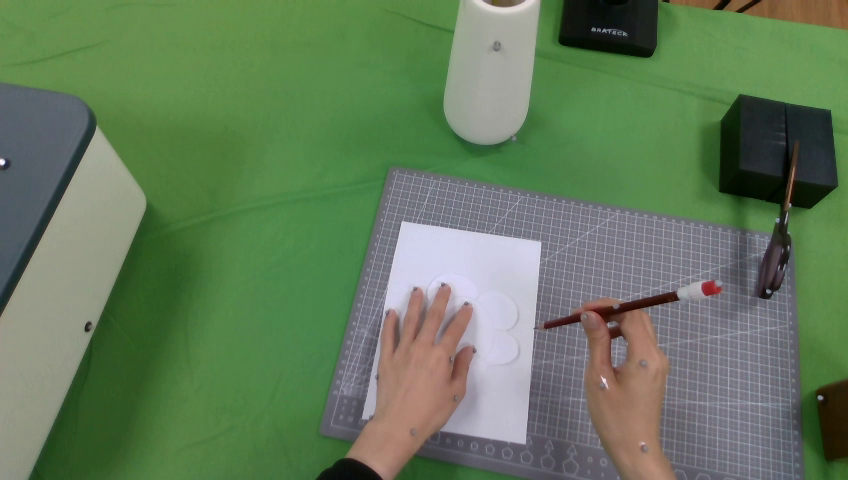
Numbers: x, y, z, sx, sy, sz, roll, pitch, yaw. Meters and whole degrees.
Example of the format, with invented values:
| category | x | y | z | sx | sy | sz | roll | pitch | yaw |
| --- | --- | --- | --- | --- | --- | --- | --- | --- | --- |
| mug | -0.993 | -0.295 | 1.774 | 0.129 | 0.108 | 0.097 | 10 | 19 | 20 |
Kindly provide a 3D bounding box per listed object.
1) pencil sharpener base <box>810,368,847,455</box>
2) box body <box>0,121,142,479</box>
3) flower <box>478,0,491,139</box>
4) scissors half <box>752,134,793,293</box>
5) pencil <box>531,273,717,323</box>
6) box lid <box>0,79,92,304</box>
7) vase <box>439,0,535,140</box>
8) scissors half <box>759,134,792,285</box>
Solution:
| category | x | y | z | sx | sy | sz | roll | pitch | yaw |
| --- | --- | --- | --- | --- | --- | --- | --- | --- | --- |
| pencil sharpener base | 0.404 | 0.154 | 0.535 | 0.061 | 0.108 | 0.076 | 6 | 67 | 2 |
| box body | -0.448 | 0.046 | 0.537 | 0.254 | 0.161 | 0.361 | 10 | 67 | 4 |
| flower | 0.061 | -0.239 | 0.559 | 0.044 | 0.365 | 0.038 | 4 | 48 | 5 |
| scissors half | 0.366 | -0.029 | 0.630 | 0.012 | 0.040 | 0.175 | 14 | 85 | 20 |
| pencil | 0.144 | 0.050 | 0.477 | 0.012 | 0.194 | 0.012 | 9 | 71 | -27 |
| box lid | -0.447 | 0.013 | 0.469 | 0.263 | 0.015 | 0.369 | 11 | 66 | 3 |
| vase | 0.065 | -0.193 | 0.630 | 0.098 | 0.201 | 0.097 | 0 | 65 | 0 |
| scissors half | 0.361 | -0.035 | 0.611 | 0.013 | 0.040 | 0.174 | 15 | 67 | 15 |
